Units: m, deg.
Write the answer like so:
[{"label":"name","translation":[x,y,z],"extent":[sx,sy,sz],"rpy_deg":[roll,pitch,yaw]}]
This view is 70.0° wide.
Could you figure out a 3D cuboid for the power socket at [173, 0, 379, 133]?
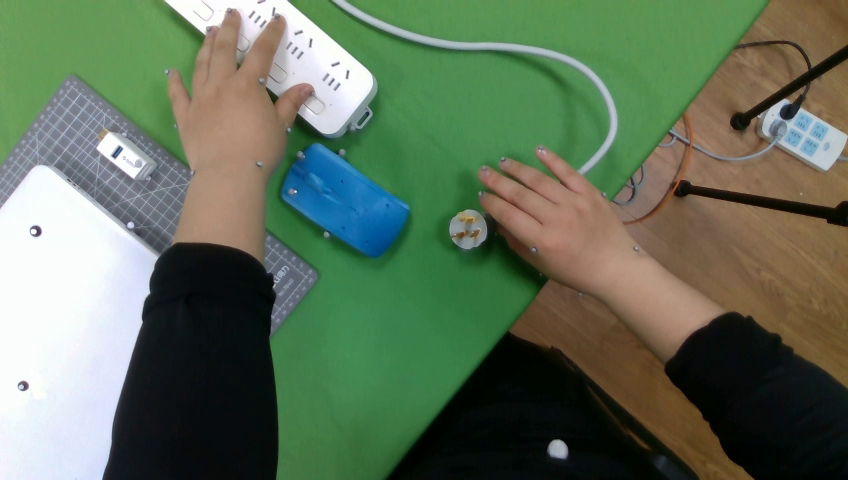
[{"label":"power socket","translation":[-0.138,-0.187,0.544],"extent":[0.227,0.032,0.072],"rpy_deg":[41,97,-2]}]

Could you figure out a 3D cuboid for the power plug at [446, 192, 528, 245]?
[{"label":"power plug","translation":[0.050,-0.026,0.540],"extent":[0.035,0.053,0.073],"rpy_deg":[49,118,12]}]

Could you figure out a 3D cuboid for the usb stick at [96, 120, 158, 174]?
[{"label":"usb stick","translation":[-0.278,-0.087,0.556],"extent":[0.059,0.027,0.021],"rpy_deg":[42,97,-2]}]

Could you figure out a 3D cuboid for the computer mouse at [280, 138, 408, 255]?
[{"label":"computer mouse","translation":[-0.075,-0.040,0.554],"extent":[0.117,0.041,0.063],"rpy_deg":[36,97,3]}]

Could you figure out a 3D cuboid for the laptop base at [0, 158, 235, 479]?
[{"label":"laptop base","translation":[-0.377,0.126,0.582],"extent":[0.236,0.023,0.354],"rpy_deg":[40,94,-6]}]

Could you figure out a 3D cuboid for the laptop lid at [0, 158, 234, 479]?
[{"label":"laptop lid","translation":[-0.375,0.129,0.571],"extent":[0.242,0.013,0.357],"rpy_deg":[42,94,-5]}]
